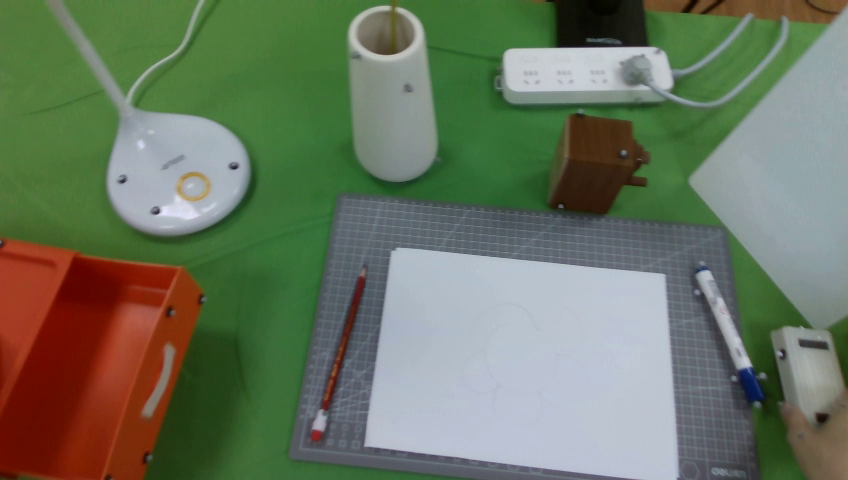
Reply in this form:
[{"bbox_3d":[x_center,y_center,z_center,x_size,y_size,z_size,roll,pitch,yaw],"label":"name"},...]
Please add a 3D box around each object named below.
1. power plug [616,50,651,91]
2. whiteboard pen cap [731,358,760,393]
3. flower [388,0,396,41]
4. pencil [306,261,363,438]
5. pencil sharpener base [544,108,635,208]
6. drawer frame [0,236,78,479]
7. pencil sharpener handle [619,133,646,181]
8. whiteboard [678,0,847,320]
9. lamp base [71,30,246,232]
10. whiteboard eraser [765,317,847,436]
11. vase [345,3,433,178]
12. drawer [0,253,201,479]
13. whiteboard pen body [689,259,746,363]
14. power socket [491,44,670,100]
[{"bbox_3d":[0.253,-0.200,0.741,0.035,0.053,0.072,9,66,4],"label":"power plug"},{"bbox_3d":[0.321,0.135,0.607,0.018,0.018,0.033,-10,63,-5],"label":"whiteboard pen cap"},{"bbox_3d":[-0.030,-0.204,0.582,0.038,0.365,0.043,-6,46,-11],"label":"flower"},{"bbox_3d":[-0.088,0.106,0.625,0.012,0.012,0.192,11,63,5],"label":"pencil"},{"bbox_3d":[0.180,-0.087,0.670,0.076,0.108,0.061,7,64,3],"label":"pencil sharpener base"},{"bbox_3d":[-0.439,0.091,0.539,0.214,0.083,0.200,11,65,-1],"label":"drawer frame"},{"bbox_3d":[0.231,-0.086,0.657,0.030,0.068,0.035,7,63,3],"label":"pencil sharpener handle"},{"bbox_3d":[0.457,-0.095,0.602,0.144,0.307,0.215,-17,63,-30],"label":"whiteboard"},{"bbox_3d":[-0.298,-0.122,0.639,0.178,0.181,0.160,35,68,18],"label":"lamp base"},{"bbox_3d":[0.376,0.134,0.600,0.056,0.042,0.112,7,61,-5],"label":"whiteboard eraser"},{"bbox_3d":[-0.039,-0.152,0.648,0.098,0.201,0.097,0,63,1],"label":"vase"},{"bbox_3d":[-0.334,0.106,0.537,0.211,0.074,0.193,8,65,4],"label":"drawer"},{"bbox_3d":[0.311,0.084,0.634,0.017,0.017,0.139,-10,64,-5],"label":"whiteboard pen body"},{"bbox_3d":[0.201,-0.215,0.773,0.227,0.033,0.071,0,65,-1],"label":"power socket"}]
